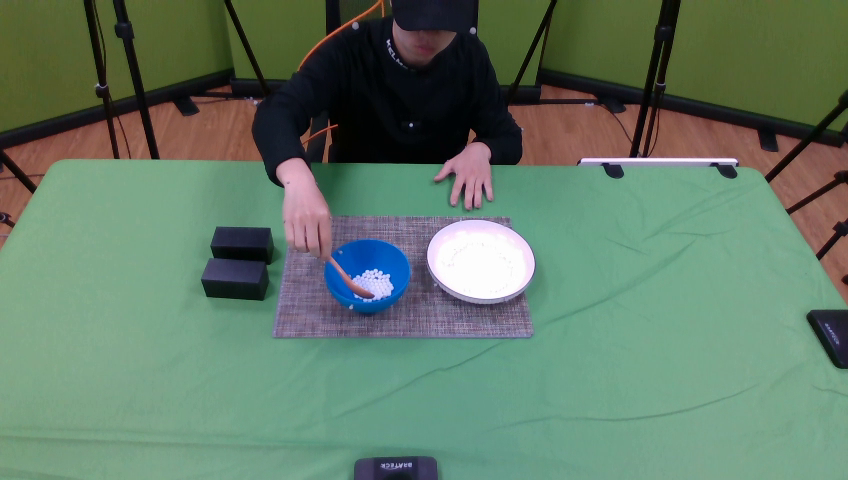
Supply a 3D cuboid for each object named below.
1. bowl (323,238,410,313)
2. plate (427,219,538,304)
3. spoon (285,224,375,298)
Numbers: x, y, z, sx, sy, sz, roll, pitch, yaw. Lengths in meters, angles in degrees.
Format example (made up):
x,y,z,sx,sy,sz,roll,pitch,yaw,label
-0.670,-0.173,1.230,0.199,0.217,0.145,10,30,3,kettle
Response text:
x,y,z,sx,sy,sz,roll,pitch,yaw,label
-0.101,0.077,1.073,0.151,0.077,0.150,2,46,-2,bowl
0.109,0.044,1.149,0.208,0.039,0.206,2,46,-2,plate
-0.160,0.036,1.028,0.193,0.041,0.021,44,73,1,spoon
